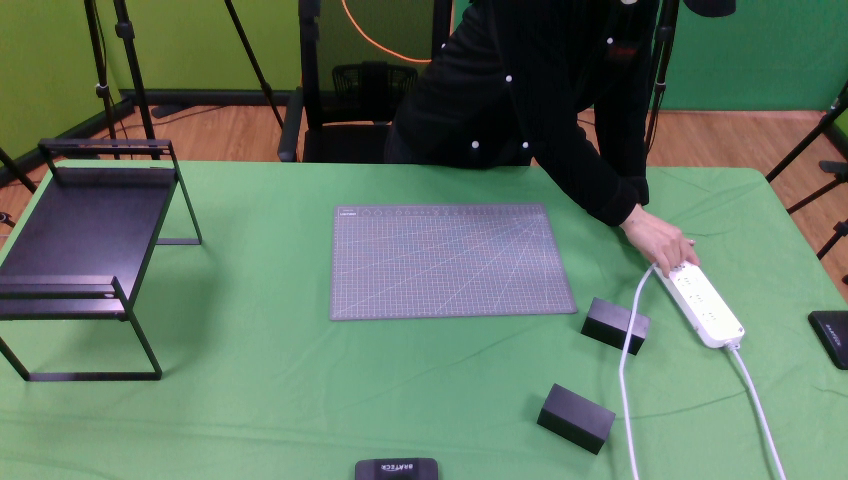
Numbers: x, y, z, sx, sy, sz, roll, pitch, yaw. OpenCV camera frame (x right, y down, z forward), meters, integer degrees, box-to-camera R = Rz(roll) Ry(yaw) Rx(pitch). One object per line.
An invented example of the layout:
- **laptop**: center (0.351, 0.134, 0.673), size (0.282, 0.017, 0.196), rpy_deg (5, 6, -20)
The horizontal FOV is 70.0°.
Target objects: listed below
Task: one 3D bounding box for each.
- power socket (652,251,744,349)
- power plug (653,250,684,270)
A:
- **power socket**: center (0.504, 0.105, 1.126), size (0.072, 0.033, 0.225), rpy_deg (-9, 47, -11)
- **power plug**: center (0.458, 0.040, 1.154), size (0.072, 0.053, 0.035), rpy_deg (1, 45, -6)
